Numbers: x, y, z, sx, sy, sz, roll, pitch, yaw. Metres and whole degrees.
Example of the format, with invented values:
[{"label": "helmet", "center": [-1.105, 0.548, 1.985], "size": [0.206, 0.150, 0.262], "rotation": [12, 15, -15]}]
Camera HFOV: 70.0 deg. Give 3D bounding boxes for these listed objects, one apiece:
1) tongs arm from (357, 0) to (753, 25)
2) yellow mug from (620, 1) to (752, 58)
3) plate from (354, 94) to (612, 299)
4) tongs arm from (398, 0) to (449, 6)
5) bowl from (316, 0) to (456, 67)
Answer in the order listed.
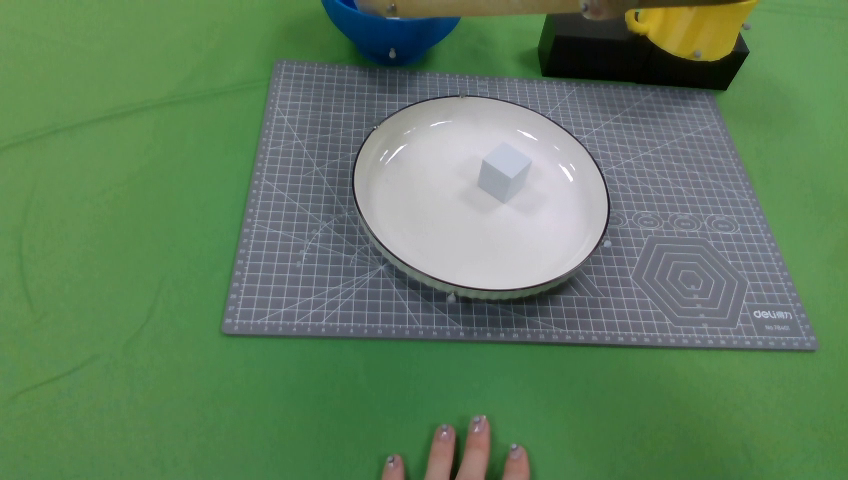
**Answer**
[{"label": "tongs arm", "center": [0.051, -0.164, 0.407], "size": [0.028, 0.028, 0.384], "rotation": [-33, 31, -23]}, {"label": "yellow mug", "center": [0.250, -0.231, 0.586], "size": [0.131, 0.064, 0.099], "rotation": [-11, 56, -13]}, {"label": "plate", "center": [0.047, -0.037, 0.498], "size": [0.208, 0.039, 0.205], "rotation": [3, 54, -4]}, {"label": "tongs arm", "center": [0.071, -0.179, 0.416], "size": [0.051, 0.027, 0.381], "rotation": [-38, 33, -24]}, {"label": "bowl", "center": [-0.034, -0.227, 0.604], "size": [0.151, 0.077, 0.150], "rotation": [3, 53, -4]}]
